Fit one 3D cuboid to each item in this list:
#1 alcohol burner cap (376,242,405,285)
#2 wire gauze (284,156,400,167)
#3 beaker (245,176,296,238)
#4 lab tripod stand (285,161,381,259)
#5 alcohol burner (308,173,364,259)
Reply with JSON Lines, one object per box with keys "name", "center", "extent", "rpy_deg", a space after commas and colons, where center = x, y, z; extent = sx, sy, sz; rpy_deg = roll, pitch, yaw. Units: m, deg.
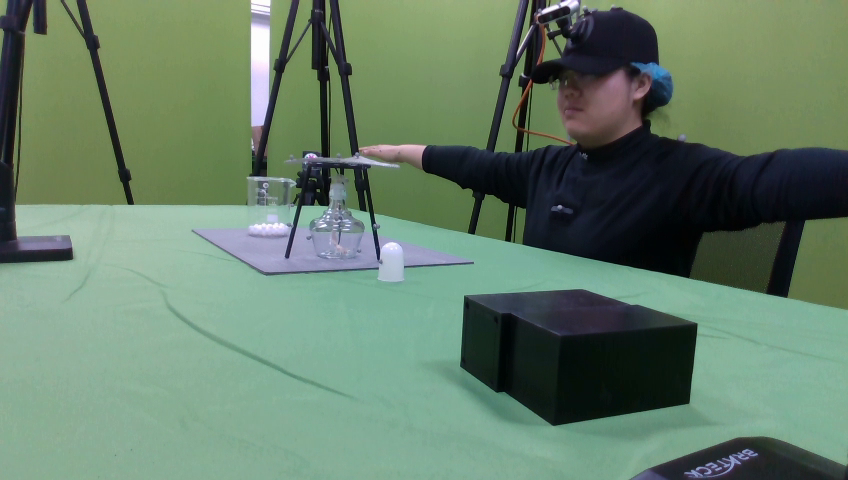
{"name": "alcohol burner cap", "center": [-0.039, 0.026, 0.710], "extent": [0.034, 0.048, 0.034], "rpy_deg": [3, 6, 0]}
{"name": "wire gauze", "center": [-0.115, -0.110, 0.835], "extent": [0.126, 0.011, 0.121], "rpy_deg": [-3, 10, -30]}
{"name": "beaker", "center": [-0.263, -0.057, 1.034], "extent": [0.084, 0.100, 0.074], "rpy_deg": [1, 8, -17]}
{"name": "lab tripod stand", "center": [-0.123, -0.043, 0.842], "extent": [0.148, 0.131, 0.148], "rpy_deg": [2, 9, 0]}
{"name": "alcohol burner", "center": [-0.121, -0.033, 0.843], "extent": [0.078, 0.119, 0.078], "rpy_deg": [3, 5, 0]}
